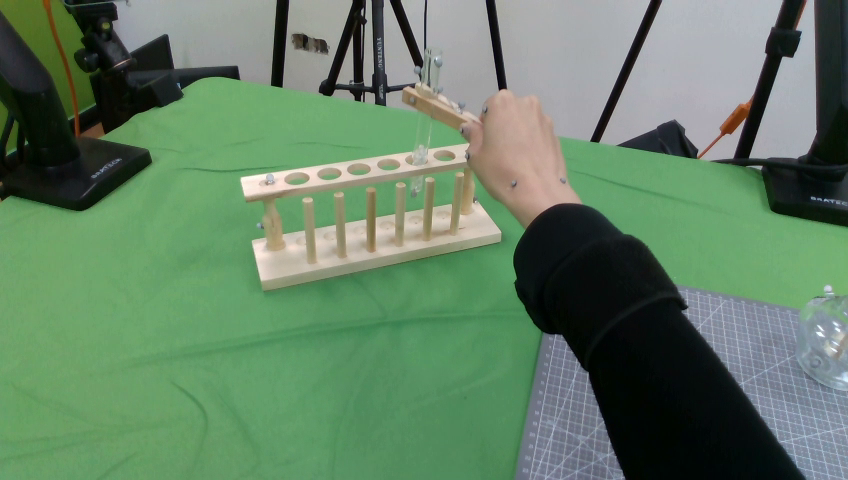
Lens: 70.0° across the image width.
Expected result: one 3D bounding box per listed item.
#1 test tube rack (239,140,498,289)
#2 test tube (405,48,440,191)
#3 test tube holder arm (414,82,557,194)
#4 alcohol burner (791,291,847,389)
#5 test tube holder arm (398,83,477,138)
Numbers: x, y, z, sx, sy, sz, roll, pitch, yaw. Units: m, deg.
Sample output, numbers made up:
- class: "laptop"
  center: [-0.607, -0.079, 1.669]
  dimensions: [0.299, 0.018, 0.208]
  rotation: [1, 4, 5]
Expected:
- class: "test tube rack"
  center: [-0.047, -0.029, 0.591]
  dimensions: [0.243, 0.086, 0.066]
  rotation: [-11, 40, -17]
- class: "test tube"
  center: [-0.003, -0.106, 0.562]
  dimensions: [0.017, 0.151, 0.017]
  rotation: [5, 44, -4]
- class: "test tube holder arm"
  center: [0.046, -0.090, 0.510]
  dimensions: [0.013, 0.015, 0.176]
  rotation: [-16, 46, -38]
- class: "alcohol burner"
  center: [0.336, 0.058, 0.470]
  dimensions: [0.078, 0.120, 0.077]
  rotation: [1, 36, 0]
- class: "test tube holder arm"
  center: [0.012, -0.113, 0.528]
  dimensions: [0.087, 0.015, 0.010]
  rotation: [34, 38, 25]
